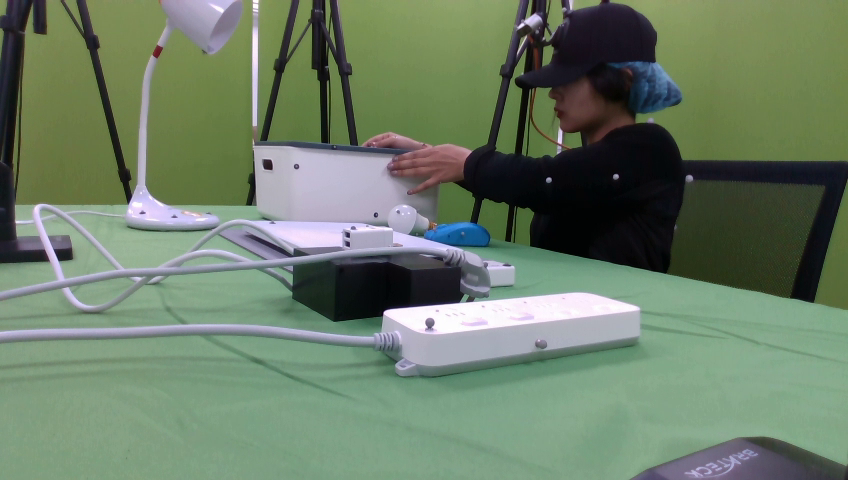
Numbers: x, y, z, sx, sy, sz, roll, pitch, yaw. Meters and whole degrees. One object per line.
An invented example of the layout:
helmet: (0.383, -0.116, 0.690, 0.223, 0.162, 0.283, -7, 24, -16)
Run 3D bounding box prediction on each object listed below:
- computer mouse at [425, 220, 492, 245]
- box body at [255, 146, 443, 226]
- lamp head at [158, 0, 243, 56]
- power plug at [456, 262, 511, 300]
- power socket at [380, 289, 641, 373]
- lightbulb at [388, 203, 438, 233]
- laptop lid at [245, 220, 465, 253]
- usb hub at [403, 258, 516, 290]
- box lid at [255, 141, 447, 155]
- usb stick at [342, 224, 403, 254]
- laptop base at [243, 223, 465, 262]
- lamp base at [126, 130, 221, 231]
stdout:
computer mouse: (0.060, -0.013, 1.060, 0.117, 0.041, 0.062, -2, 10, -6)
box body: (-0.169, -0.121, 1.343, 0.366, 0.160, 0.253, -2, 8, -31)
lamp head: (-0.399, -0.397, 1.057, 0.123, 0.112, 0.112, 27, 5, -7)
power plug: (0.052, 0.051, 0.543, 0.035, 0.052, 0.072, 5, 38, -20)
power socket: (0.072, 0.064, 0.461, 0.228, 0.032, 0.072, -2, 8, -30)
lightbulb: (-0.018, -0.035, 1.162, 0.108, 0.059, 0.059, 16, 0, -28)
laptop lid: (-0.124, -0.009, 0.945, 0.243, 0.013, 0.355, 1, 7, -29)
usb hub: (0.042, 0.038, 0.690, 0.126, 0.025, 0.049, -2, 9, -30)
box lid: (-0.163, -0.201, 1.334, 0.373, 0.015, 0.262, -2, 9, -31)
usb stick: (-0.047, -0.001, 0.567, 0.059, 0.027, 0.021, 0, 5, -32)
laptop base: (-0.126, 0.002, 0.946, 0.237, 0.023, 0.352, 2, 6, -31)
lamp base: (-0.469, -0.112, 1.109, 0.179, 0.180, 0.160, 0, 7, 3)
